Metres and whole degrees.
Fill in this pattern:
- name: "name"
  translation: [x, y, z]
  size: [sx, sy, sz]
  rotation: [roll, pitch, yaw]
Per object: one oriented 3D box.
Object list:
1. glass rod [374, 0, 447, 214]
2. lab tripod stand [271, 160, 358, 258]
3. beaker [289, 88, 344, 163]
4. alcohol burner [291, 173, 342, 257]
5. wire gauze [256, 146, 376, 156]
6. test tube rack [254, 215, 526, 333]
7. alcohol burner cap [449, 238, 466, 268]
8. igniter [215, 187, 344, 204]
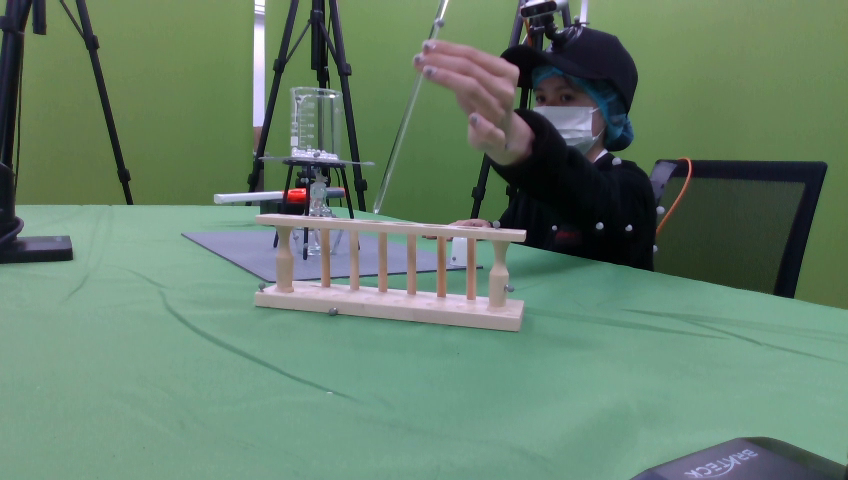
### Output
- name: "glass rod"
  translation: [-0.011, -0.117, 0.528]
  size: [0.008, 0.199, 0.008]
  rotation: [18, 8, -2]
- name: "lab tripod stand"
  translation: [-0.159, -0.048, 0.876]
  size: [0.148, 0.131, 0.148]
  rotation: [3, 5, 0]
- name: "beaker"
  translation: [-0.157, -0.160, 0.862]
  size: [0.083, 0.100, 0.074]
  rotation: [7, 7, 34]
- name: "alcohol burner"
  translation: [-0.155, -0.037, 0.870]
  size: [0.078, 0.119, 0.078]
  rotation: [1, 6, 0]
- name: "wire gauze"
  translation: [-0.155, -0.128, 0.871]
  size: [0.124, 0.011, 0.122]
  rotation: [2, 7, 36]
- name: "test tube rack"
  translation: [-0.030, 0.025, 0.557]
  size: [0.242, 0.085, 0.067]
  rotation: [4, 7, 12]
- name: "alcohol burner cap"
  translation: [0.051, 0.015, 0.827]
  size: [0.034, 0.048, 0.034]
  rotation: [2, 5, 0]
- name: "igniter"
  translation: [-0.290, -0.093, 1.255]
  size: [0.278, 0.025, 0.057]
  rotation: [-6, 11, -35]
